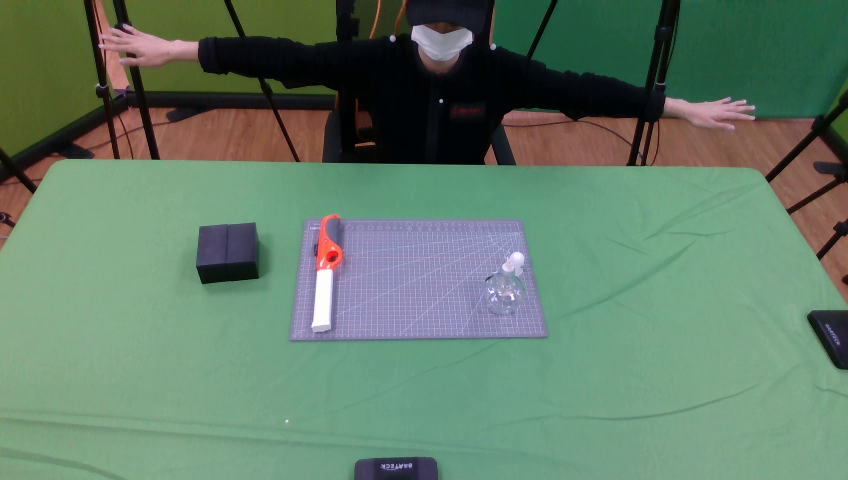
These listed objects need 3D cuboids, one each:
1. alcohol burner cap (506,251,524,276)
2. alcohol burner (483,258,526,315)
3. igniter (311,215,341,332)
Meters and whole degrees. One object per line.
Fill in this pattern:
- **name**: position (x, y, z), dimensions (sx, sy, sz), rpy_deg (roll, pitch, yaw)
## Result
- **alcohol burner cap**: position (0.175, 0.043, 1.151), dimensions (0.034, 0.048, 0.033), rpy_deg (2, 46, -1)
- **alcohol burner**: position (0.143, 0.076, 1.067), dimensions (0.078, 0.120, 0.077), rpy_deg (1, 45, -1)
- **igniter**: position (-0.183, 0.052, 1.124), dimensions (0.057, 0.025, 0.274), rpy_deg (-7, 46, 3)
